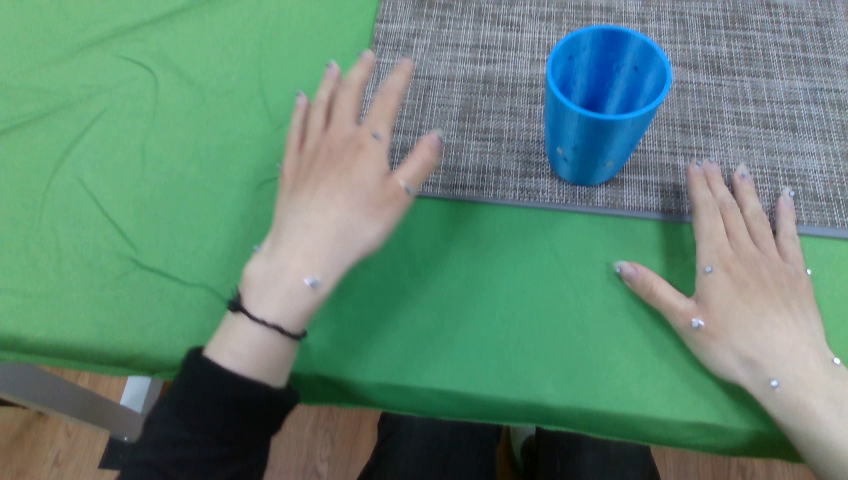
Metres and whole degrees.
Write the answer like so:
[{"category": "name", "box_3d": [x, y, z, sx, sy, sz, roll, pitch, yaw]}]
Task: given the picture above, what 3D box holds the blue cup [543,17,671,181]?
[{"category": "blue cup", "box_3d": [0.128, -0.096, 0.458, 0.092, 0.101, 0.092, -1, 63, 3]}]
